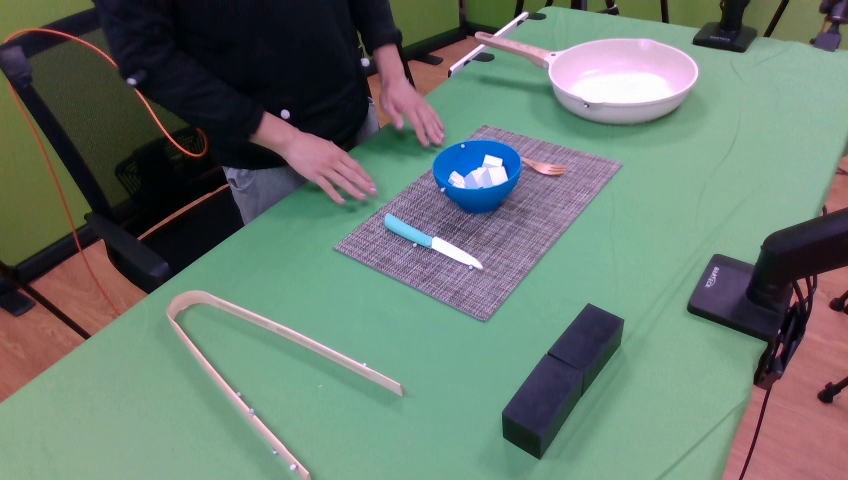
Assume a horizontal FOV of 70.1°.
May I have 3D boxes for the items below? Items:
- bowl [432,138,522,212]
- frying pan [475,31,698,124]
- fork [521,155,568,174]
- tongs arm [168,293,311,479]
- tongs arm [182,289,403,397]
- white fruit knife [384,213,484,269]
[{"bbox_3d":[0.091,-0.100,1.021,0.151,0.077,0.150,-4,41,4],"label":"bowl"},{"bbox_3d":[0.320,-0.371,1.290,0.485,0.103,0.307,28,50,23],"label":"frying pan"},{"bbox_3d":[0.168,-0.152,1.117,0.206,0.019,0.028,22,57,27],"label":"fork"},{"bbox_3d":[-0.244,0.176,0.787,0.381,0.026,0.051,29,51,36],"label":"tongs arm"},{"bbox_3d":[-0.191,0.135,0.834,0.385,0.028,0.028,18,48,26],"label":"tongs arm"},{"bbox_3d":[0.011,0.003,0.962,0.206,0.016,0.027,26,61,31],"label":"white fruit knife"}]
